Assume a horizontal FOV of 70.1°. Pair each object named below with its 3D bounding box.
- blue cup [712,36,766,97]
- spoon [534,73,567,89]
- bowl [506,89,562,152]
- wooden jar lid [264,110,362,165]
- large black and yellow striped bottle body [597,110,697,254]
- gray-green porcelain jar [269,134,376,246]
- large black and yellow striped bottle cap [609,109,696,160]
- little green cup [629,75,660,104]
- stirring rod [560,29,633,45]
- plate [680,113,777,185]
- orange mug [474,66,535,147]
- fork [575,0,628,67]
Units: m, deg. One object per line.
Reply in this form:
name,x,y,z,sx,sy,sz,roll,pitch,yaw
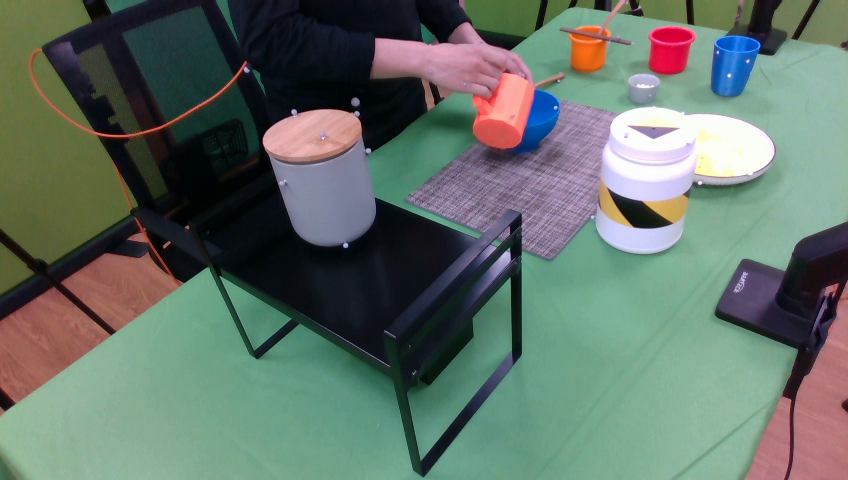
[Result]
blue cup,0.627,-0.350,1.227,0.092,0.100,0.092,-4,39,4
spoon,0.250,-0.336,1.332,0.194,0.022,0.041,-32,31,-26
bowl,0.187,-0.222,1.161,0.151,0.077,0.150,-5,39,4
wooden jar lid,-0.122,-0.112,0.673,0.108,0.021,0.108,-5,37,4
large black and yellow striped bottle body,0.331,-0.086,0.904,0.131,0.185,0.130,-5,41,4
gray-green porcelain jar,-0.115,-0.064,0.715,0.106,0.127,0.105,-4,40,4
large black and yellow striped bottle cap,0.319,-0.150,0.849,0.115,0.019,0.114,-4,40,3
little green cup,0.457,-0.314,1.260,0.061,0.039,0.061,-4,40,4
stirring rod,0.381,-0.452,1.345,0.174,0.006,0.014,25,49,33
plate,0.506,-0.158,1.073,0.209,0.038,0.208,-5,40,4
orange mug,0.131,-0.235,1.039,0.083,0.127,0.100,-1,56,40
fork,0.413,-0.481,1.377,0.207,0.019,0.028,-56,43,12
